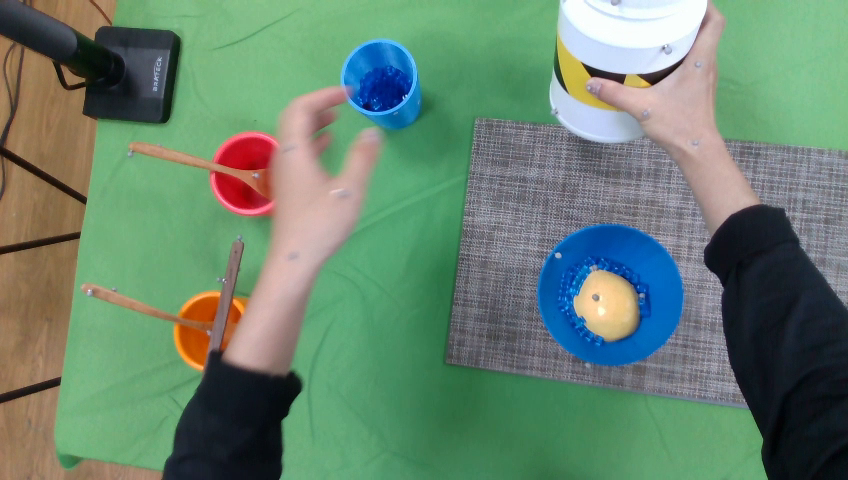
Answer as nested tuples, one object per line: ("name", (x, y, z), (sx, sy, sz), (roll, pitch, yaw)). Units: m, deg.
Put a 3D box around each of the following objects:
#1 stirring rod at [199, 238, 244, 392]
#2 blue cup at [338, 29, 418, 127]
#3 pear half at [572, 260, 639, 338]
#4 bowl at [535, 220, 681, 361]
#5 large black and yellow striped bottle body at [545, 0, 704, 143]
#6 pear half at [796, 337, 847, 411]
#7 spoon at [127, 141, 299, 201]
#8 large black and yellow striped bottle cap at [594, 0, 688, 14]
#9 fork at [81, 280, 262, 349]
("stirring rod", (-0.229, 0.084, 0.683), (0.014, 0.006, 0.176), (12, 88, 4))
("blue cup", (-0.046, -0.175, 0.707), (0.092, 0.100, 0.092), (-1, 84, 8))
("pear half", (0.200, 0.062, 0.667), (0.070, 0.031, 0.087), (-19, 80, 1))
("bowl", (0.197, 0.056, 0.674), (0.151, 0.077, 0.151), (-1, 86, 7))
("large black and yellow striped bottle body", (0.191, -0.199, 0.591), (0.131, 0.185, 0.129), (-2, 61, 4))
("pear half", (0.429, 0.141, 0.628), (0.056, 0.110, 0.076), (-13, 81, 6))
("spoon", (-0.238, -0.084, 0.701), (0.195, 0.021, 0.041), (15, 90, -36))
("large black and yellow striped bottle cap", (0.184, -0.240, 0.517), (0.115, 0.019, 0.114), (-3, 62, 5))
("fork", (-0.281, 0.086, 0.690), (0.209, 0.018, 0.028), (27, 99, -36))
